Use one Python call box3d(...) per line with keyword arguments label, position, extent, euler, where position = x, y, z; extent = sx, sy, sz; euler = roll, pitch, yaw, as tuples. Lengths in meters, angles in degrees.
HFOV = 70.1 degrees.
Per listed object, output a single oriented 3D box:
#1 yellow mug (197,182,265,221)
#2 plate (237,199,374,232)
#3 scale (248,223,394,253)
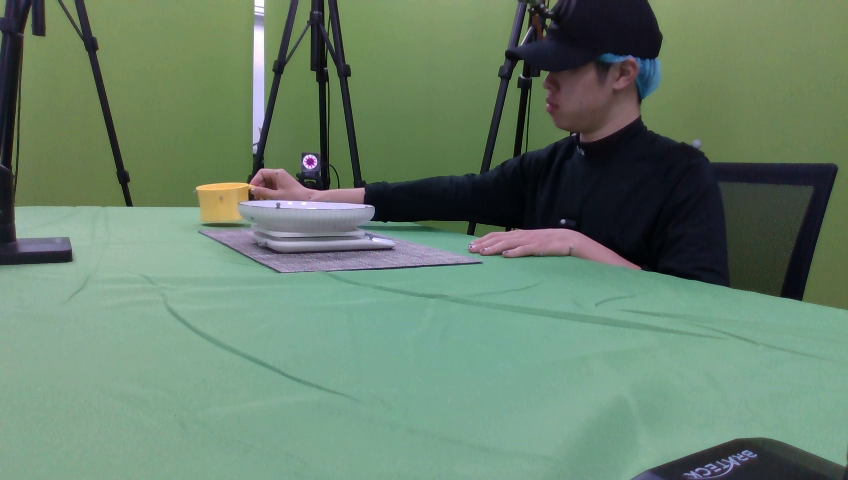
box3d(label="yellow mug", position=(-0.385, -0.080, 1.219), extent=(0.131, 0.064, 0.099), euler=(-10, 15, -33))
box3d(label="plate", position=(-0.183, -0.039, 0.941), extent=(0.209, 0.038, 0.209), euler=(3, 7, 0))
box3d(label="scale", position=(-0.162, -0.006, 0.954), extent=(0.202, 0.031, 0.148), euler=(-1, 9, -32))
